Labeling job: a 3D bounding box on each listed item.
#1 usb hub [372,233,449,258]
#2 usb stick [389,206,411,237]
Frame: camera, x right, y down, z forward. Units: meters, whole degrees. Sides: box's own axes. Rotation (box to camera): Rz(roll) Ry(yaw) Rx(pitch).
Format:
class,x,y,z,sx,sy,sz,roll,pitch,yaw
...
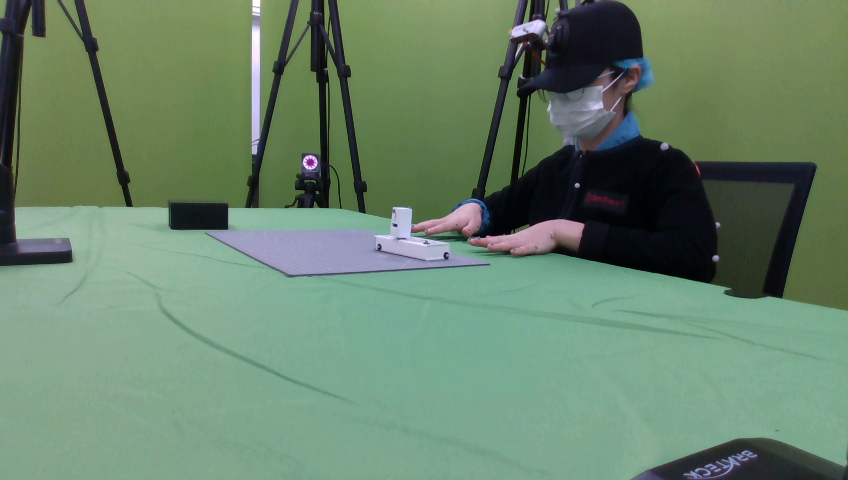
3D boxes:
class,x,y,z,sx,sy,sz,roll,pitch,yaw
usb hub,-0.023,0.007,0.918,0.050,0.025,0.124,-5,10,-42
usb stick,-0.036,-0.022,0.909,0.027,0.059,0.021,-6,13,-43
